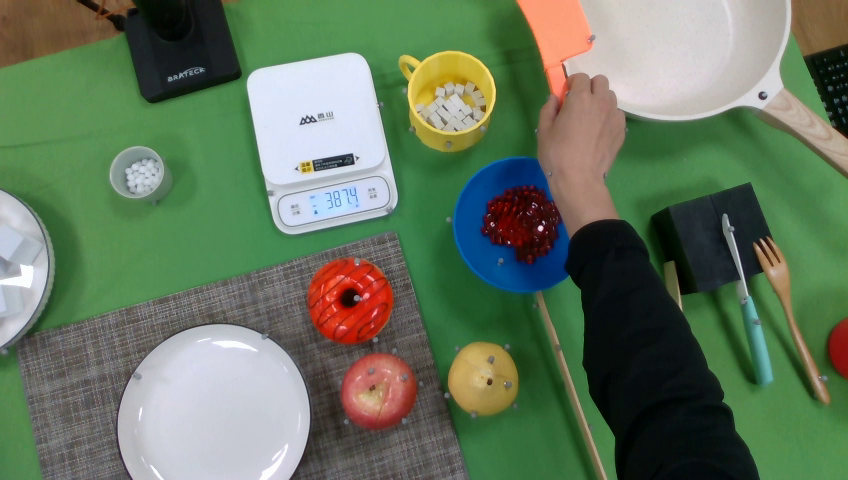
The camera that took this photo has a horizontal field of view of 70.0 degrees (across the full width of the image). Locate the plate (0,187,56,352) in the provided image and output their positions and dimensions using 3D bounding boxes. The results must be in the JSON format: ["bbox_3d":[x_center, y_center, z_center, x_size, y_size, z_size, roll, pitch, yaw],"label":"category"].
[{"bbox_3d":[-0.517,0.037,0.683,0.208,0.039,0.207,0,81,-1],"label":"plate"}]

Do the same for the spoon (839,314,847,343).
[{"bbox_3d":[0.519,0.147,0.634,0.041,0.022,0.191,-22,38,-4],"label":"spoon"}]

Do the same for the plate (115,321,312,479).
[{"bbox_3d":[-0.224,0.193,0.662,0.209,0.038,0.208,0,81,-1],"label":"plate"}]

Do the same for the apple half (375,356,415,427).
[{"bbox_3d":[-0.027,0.166,0.651,0.033,0.081,0.081,17,81,5],"label":"apple half"}]

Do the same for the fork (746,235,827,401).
[{"bbox_3d":[0.411,0.090,0.682,0.028,0.018,0.208,-26,98,-7],"label":"fork"}]

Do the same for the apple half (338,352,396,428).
[{"bbox_3d":[-0.064,0.156,0.653,0.053,0.075,0.080,17,84,5],"label":"apple half"}]

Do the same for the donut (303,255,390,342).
[{"bbox_3d":[-0.087,0.065,0.681,0.099,0.048,0.098,0,82,1],"label":"donut"}]

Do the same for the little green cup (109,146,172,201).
[{"bbox_3d":[-0.326,-0.074,0.704,0.061,0.039,0.061,0,81,-1],"label":"little green cup"}]

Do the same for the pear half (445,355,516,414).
[{"bbox_3d":[0.058,0.158,0.641,0.076,0.110,0.056,16,81,6],"label":"pear half"}]

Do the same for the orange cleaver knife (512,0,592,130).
[{"bbox_3d":[0.149,-0.230,0.685,0.077,0.012,0.210,-17,83,-1],"label":"orange cleaver knife"}]

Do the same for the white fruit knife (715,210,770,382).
[{"bbox_3d":[0.354,0.066,0.676,0.016,0.027,0.208,-18,97,-3],"label":"white fruit knife"}]

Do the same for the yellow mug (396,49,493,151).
[{"bbox_3d":[0.016,-0.172,0.711,0.130,0.064,0.100,40,83,6],"label":"yellow mug"}]

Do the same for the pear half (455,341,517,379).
[{"bbox_3d":[0.069,0.126,0.656,0.070,0.088,0.031,14,81,4],"label":"pear half"}]

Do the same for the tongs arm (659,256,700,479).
[{"bbox_3d":[0.287,0.211,0.682,0.028,0.028,0.386,-1,82,-10],"label":"tongs arm"}]

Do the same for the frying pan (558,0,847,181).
[{"bbox_3d":[0.347,-0.202,0.703,0.306,0.103,0.485,-43,77,-6],"label":"frying pan"}]

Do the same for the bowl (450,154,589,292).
[{"bbox_3d":[0.102,-0.014,0.684,0.151,0.077,0.151,0,82,-1],"label":"bowl"}]

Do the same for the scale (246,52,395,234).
[{"bbox_3d":[-0.123,-0.117,0.717,0.149,0.031,0.200,-12,82,-2],"label":"scale"}]

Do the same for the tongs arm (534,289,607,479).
[{"bbox_3d":[0.203,0.227,0.673,0.051,0.026,0.383,-16,83,-8],"label":"tongs arm"}]
